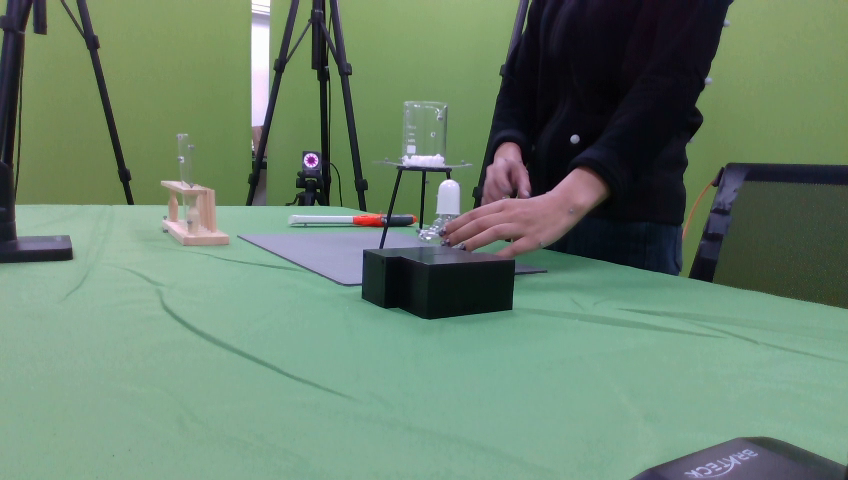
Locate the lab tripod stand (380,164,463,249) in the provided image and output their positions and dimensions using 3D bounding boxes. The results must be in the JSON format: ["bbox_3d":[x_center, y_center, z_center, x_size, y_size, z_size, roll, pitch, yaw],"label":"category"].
[{"bbox_3d":[-0.003,-0.055,0.967,0.148,0.131,0.148,2,9,0],"label":"lab tripod stand"}]

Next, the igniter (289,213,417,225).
[{"bbox_3d":[-0.144,-0.044,1.275,0.278,0.025,0.057,-1,-1,-27],"label":"igniter"}]

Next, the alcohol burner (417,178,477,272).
[{"bbox_3d":[0.030,-0.020,0.779,0.078,0.119,0.078,1,9,0],"label":"alcohol burner"}]

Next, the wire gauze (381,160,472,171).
[{"bbox_3d":[-0.004,-0.120,0.959,0.122,0.011,0.124,-5,13,-33],"label":"wire gauze"}]

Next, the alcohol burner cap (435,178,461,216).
[{"bbox_3d":[0.032,-0.055,0.776,0.034,0.048,0.034,3,2,0],"label":"alcohol burner cap"}]

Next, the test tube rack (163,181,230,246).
[{"bbox_3d":[-0.387,-0.050,1.015,0.067,0.085,0.241,-2,9,-30],"label":"test tube rack"}]

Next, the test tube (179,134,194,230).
[{"bbox_3d":[-0.366,-0.089,0.938,0.017,0.150,0.017,-1,9,1],"label":"test tube"}]

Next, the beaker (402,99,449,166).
[{"bbox_3d":[0.003,-0.168,0.957,0.073,0.100,0.084,8,11,35],"label":"beaker"}]
